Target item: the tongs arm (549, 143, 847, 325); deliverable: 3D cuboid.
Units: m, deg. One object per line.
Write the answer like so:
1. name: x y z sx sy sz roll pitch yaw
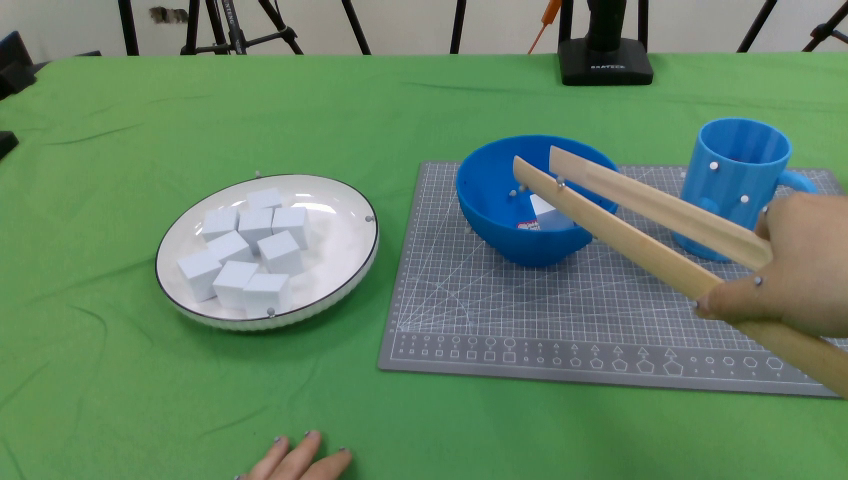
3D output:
1. tongs arm: 0.195 0.006 0.393 0.028 0.028 0.383 -13 31 -23

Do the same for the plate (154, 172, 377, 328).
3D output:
1. plate: -0.148 0.008 0.585 0.209 0.038 0.207 -2 42 2

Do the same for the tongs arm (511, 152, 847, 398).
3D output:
1. tongs arm: 0.172 0.013 0.384 0.051 0.027 0.380 -14 31 -18

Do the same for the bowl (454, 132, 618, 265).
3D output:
1. bowl: 0.104 -0.029 0.573 0.151 0.077 0.150 -2 42 2

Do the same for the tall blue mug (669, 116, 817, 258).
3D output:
1. tall blue mug: 0.290 -0.045 0.552 0.107 0.109 0.077 10 43 15
